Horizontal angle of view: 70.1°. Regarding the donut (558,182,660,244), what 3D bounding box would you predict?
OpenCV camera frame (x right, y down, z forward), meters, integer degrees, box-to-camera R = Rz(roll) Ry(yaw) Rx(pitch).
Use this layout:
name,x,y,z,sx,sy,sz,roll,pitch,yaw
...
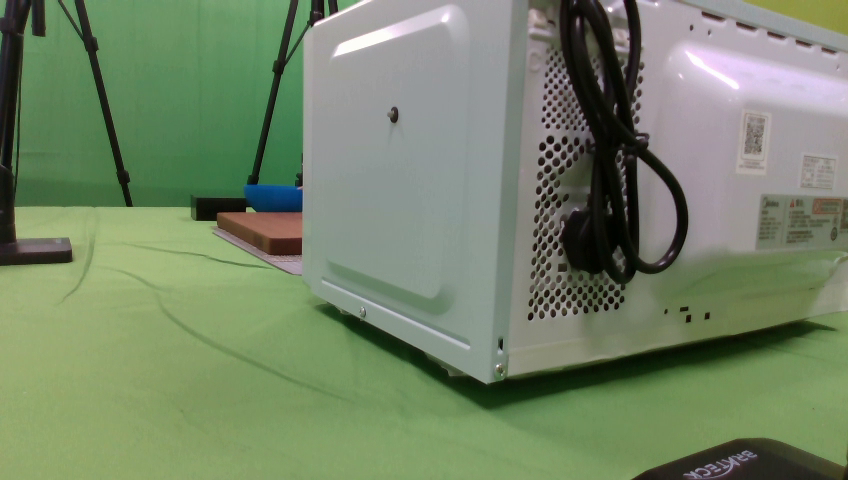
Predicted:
name,x,y,z,sx,sy,sz,roll,pitch,yaw
donut,0.185,-0.028,0.607,0.099,0.048,0.099,11,-10,2

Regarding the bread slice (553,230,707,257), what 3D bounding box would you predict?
name,x,y,z,sx,sy,sz,roll,pitch,yaw
bread slice,0.204,0.003,0.583,0.105,0.019,0.131,5,-2,-19

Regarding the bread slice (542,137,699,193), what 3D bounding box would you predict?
name,x,y,z,sx,sy,sz,roll,pitch,yaw
bread slice,0.198,-0.074,0.596,0.107,0.018,0.133,-1,22,-42

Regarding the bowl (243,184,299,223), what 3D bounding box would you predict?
name,x,y,z,sx,sy,sz,roll,pitch,yaw
bowl,-0.321,-0.081,1.333,0.151,0.077,0.151,3,7,0

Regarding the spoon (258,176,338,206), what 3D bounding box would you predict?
name,x,y,z,sx,sy,sz,roll,pitch,yaw
spoon,-0.279,-0.112,1.356,0.194,0.021,0.041,-28,19,-27

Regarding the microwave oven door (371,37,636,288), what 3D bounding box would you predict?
name,x,y,z,sx,sy,sz,roll,pitch,yaw
microwave oven door,0.109,-0.080,0.686,0.358,0.243,0.039,-2,9,-33

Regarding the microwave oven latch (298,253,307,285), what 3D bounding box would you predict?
name,x,y,z,sx,sy,sz,roll,pitch,yaw
microwave oven latch,-0.081,0.027,0.582,0.079,0.029,0.030,-2,7,-33

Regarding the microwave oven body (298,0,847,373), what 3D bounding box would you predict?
name,x,y,z,sx,sy,sz,roll,pitch,yaw
microwave oven body,0.151,-0.055,0.542,0.444,0.260,0.324,-2,7,-33
